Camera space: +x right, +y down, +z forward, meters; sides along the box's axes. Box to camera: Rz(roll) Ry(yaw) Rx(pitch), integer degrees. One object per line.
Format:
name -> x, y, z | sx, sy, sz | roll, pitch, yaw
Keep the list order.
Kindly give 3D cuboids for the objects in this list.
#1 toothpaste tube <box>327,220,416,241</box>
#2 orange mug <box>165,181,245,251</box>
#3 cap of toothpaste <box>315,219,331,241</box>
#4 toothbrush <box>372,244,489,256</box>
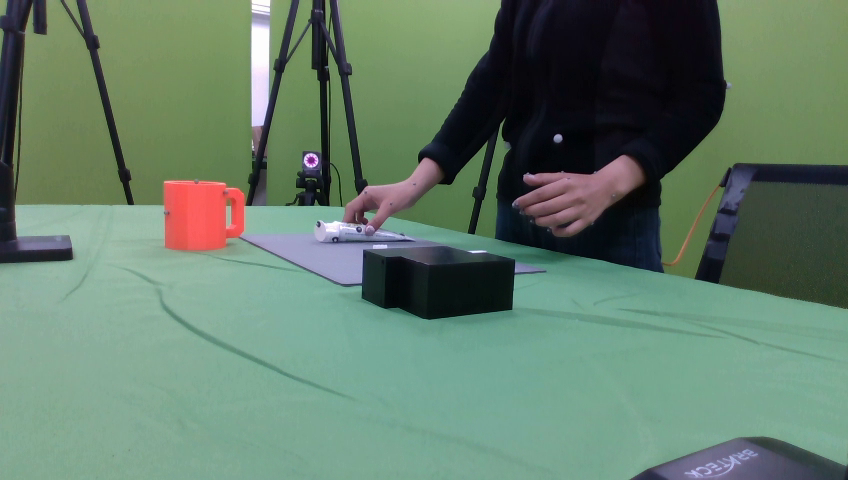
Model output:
toothpaste tube -> -0.095, -0.013, 1.026 | 0.166, 0.034, 0.055 | 2, 15, -34
orange mug -> -0.326, -0.040, 0.911 | 0.083, 0.101, 0.127 | 8, 14, 37
cap of toothpaste -> -0.164, -0.017, 0.982 | 0.011, 0.037, 0.037 | -8, 12, -43
toothbrush -> 0.012, 0.016, 0.874 | 0.183, 0.016, 0.014 | 1, -7, -22
